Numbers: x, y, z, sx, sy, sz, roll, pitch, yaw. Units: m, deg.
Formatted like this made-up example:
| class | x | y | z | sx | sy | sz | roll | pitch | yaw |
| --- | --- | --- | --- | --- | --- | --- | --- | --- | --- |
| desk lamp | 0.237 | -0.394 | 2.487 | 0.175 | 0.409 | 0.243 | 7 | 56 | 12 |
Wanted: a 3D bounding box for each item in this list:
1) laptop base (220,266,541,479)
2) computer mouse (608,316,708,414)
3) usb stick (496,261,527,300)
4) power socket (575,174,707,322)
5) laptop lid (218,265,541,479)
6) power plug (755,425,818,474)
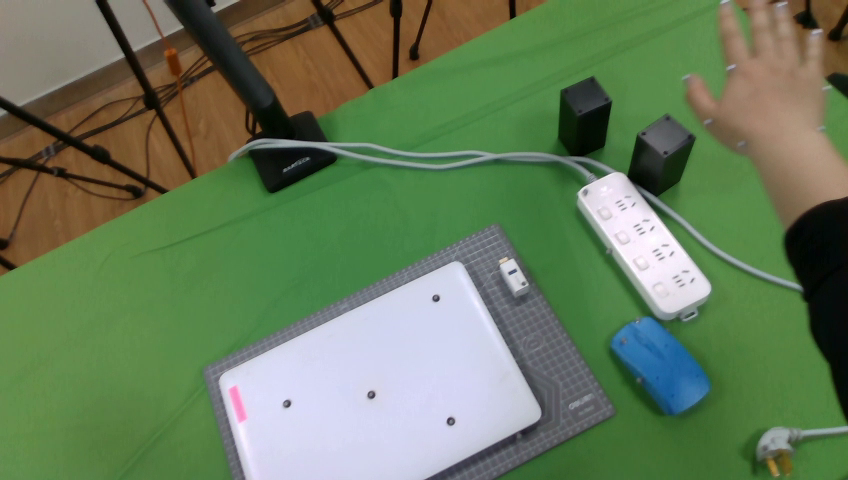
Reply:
| class | x | y | z | sx | sy | sz | roll | pitch | yaw |
| --- | --- | --- | --- | --- | --- | --- | --- | --- | --- |
| laptop base | -0.063 | 0.200 | 0.759 | 0.354 | 0.023 | 0.233 | -26 | 64 | -4 |
| computer mouse | 0.276 | 0.144 | 0.717 | 0.063 | 0.041 | 0.116 | -32 | 57 | -5 |
| usb stick | 0.113 | 0.048 | 0.800 | 0.021 | 0.027 | 0.058 | -24 | 56 | -6 |
| power socket | 0.279 | 0.005 | 0.793 | 0.072 | 0.033 | 0.224 | -26 | 61 | -3 |
| laptop lid | -0.064 | 0.196 | 0.748 | 0.357 | 0.013 | 0.239 | -25 | 63 | -3 |
| power plug | 0.395 | 0.223 | 0.651 | 0.072 | 0.035 | 0.052 | -15 | 42 | 14 |
